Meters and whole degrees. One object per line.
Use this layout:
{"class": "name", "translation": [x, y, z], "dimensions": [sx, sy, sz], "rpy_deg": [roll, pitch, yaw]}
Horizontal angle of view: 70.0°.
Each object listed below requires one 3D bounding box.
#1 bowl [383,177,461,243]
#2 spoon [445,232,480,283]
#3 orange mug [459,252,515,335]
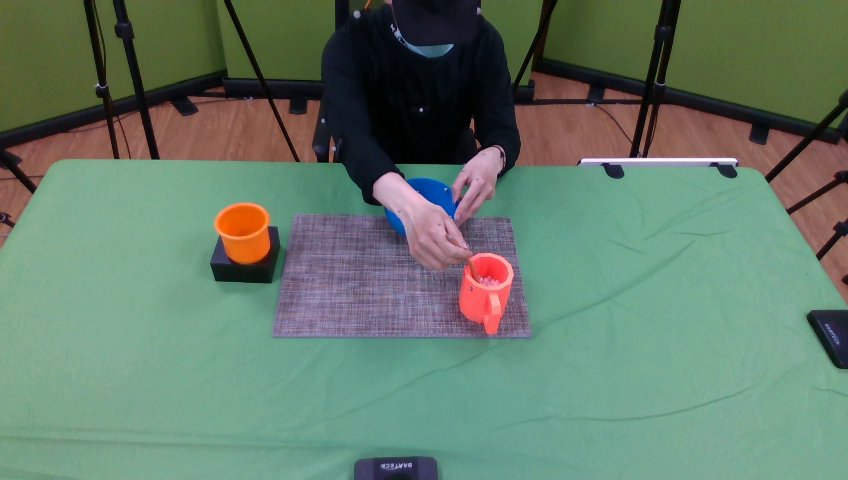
{"class": "bowl", "translation": [-0.006, -0.047, 1.197], "dimensions": [0.151, 0.077, 0.150], "rpy_deg": [2, 46, -2]}
{"class": "spoon", "translation": [0.077, 0.044, 1.022], "dimensions": [0.021, 0.195, 0.041], "rpy_deg": [-24, 44, 7]}
{"class": "orange mug", "translation": [0.112, 0.096, 1.052], "dimensions": [0.083, 0.101, 0.125], "rpy_deg": [-3, 42, -7]}
